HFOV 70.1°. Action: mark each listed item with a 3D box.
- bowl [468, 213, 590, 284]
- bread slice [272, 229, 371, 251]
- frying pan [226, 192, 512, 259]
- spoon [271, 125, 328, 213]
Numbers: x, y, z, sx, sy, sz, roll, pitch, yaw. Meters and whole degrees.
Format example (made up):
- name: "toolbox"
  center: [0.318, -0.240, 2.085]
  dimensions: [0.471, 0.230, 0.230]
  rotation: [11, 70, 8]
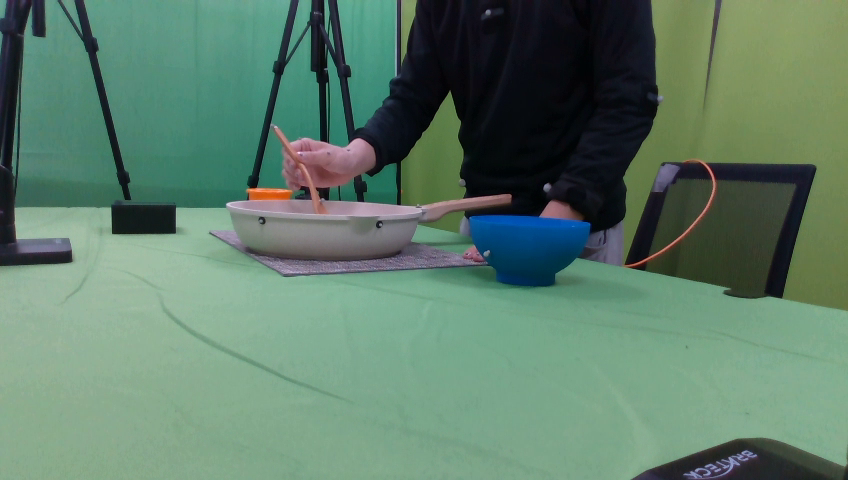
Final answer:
- name: "bowl"
  center: [0.128, 0.011, 0.755]
  dimensions: [0.151, 0.077, 0.151]
  rotation: [2, 7, 0]
- name: "bread slice"
  center: [-0.148, -0.001, 0.929]
  dimensions: [0.133, 0.018, 0.107]
  rotation: [7, 9, 38]
- name: "frying pan"
  center: [-0.058, -0.041, 0.974]
  dimensions: [0.490, 0.102, 0.305]
  rotation: [-11, 13, -26]
- name: "spoon"
  center: [-0.181, -0.095, 0.918]
  dimensions: [0.021, 0.193, 0.042]
  rotation: [-30, -7, 16]
